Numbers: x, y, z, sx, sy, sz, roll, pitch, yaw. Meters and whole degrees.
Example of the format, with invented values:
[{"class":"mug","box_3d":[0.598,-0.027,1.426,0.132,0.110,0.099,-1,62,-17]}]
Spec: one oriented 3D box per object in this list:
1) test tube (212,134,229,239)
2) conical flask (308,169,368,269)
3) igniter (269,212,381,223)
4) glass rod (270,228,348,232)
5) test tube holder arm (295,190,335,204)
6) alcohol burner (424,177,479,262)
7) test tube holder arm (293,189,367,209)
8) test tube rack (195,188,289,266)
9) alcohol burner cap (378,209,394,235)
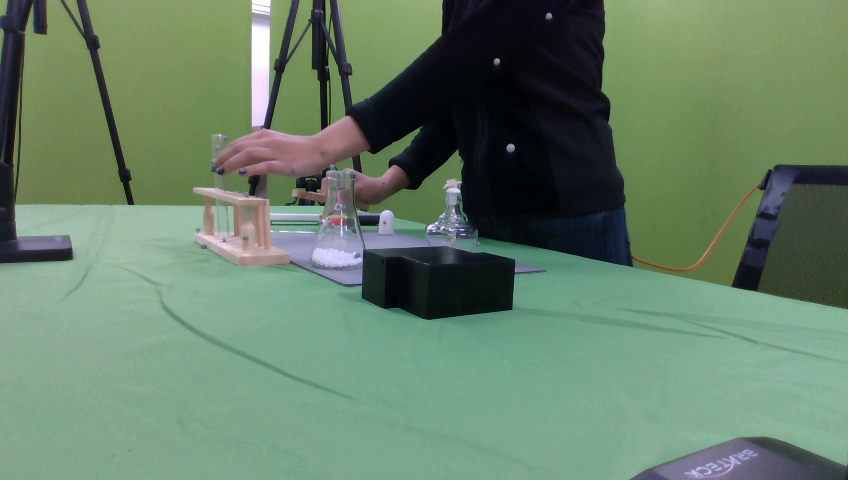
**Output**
[{"class":"test tube","box_3d":[-0.290,-0.076,0.863,0.017,0.150,0.017,-2,6,0]},{"class":"conical flask","box_3d":[-0.107,-0.028,0.762,0.075,0.122,0.075,2,7,0]},{"class":"igniter","box_3d":[-0.214,-0.048,1.279,0.278,0.025,0.057,-1,-2,-24]},{"class":"glass rod","box_3d":[-0.235,-0.018,1.104,0.201,0.008,0.008,1,7,-26]},{"class":"test tube holder arm","box_3d":[-0.204,-0.081,1.137,0.010,0.015,0.088,26,12,40]},{"class":"alcohol burner","box_3d":[0.040,-0.029,0.853,0.078,0.119,0.078,2,9,0]},{"class":"test tube holder arm","box_3d":[-0.179,-0.079,1.175,0.013,0.015,0.179,26,12,39]},{"class":"test tube rack","box_3d":[-0.266,-0.025,0.864,0.067,0.085,0.241,-2,8,-33]},{"class":"alcohol burner cap","box_3d":[-0.071,-0.034,1.144,0.034,0.048,0.034,3,7,0]}]
